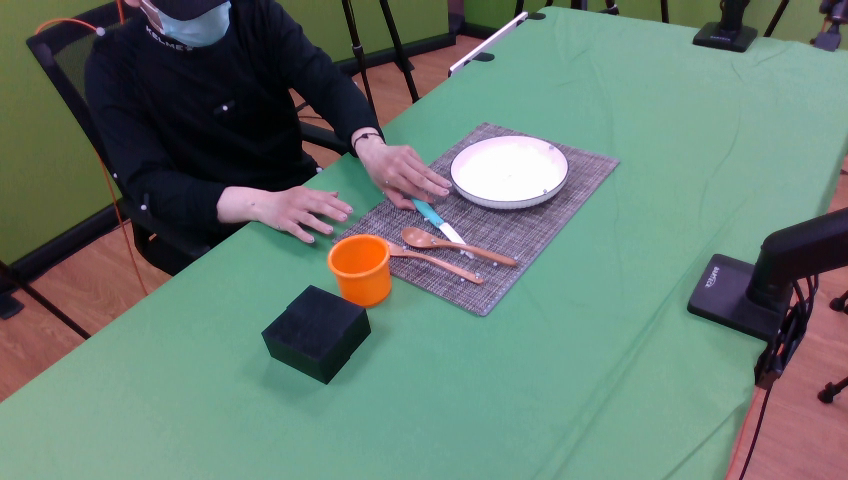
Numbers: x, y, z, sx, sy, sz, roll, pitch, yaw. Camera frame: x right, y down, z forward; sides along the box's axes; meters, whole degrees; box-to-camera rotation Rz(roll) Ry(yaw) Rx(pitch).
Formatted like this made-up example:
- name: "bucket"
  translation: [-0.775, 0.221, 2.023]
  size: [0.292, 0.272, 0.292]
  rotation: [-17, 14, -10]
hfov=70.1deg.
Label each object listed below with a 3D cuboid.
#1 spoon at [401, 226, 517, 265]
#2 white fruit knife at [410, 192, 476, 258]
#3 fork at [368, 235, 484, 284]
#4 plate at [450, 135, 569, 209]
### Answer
- name: "spoon"
  translation: [0.052, 0.011, 0.940]
  size: [0.192, 0.022, 0.041]
  rotation: [13, 41, 24]
- name: "white fruit knife"
  translation: [0.027, -0.027, 0.993]
  size: [0.027, 0.016, 0.205]
  rotation: [-8, 35, -29]
- name: "fork"
  translation: [0.001, 0.030, 0.930]
  size: [0.206, 0.019, 0.028]
  rotation: [18, 41, 29]
- name: "plate"
  translation: [0.149, -0.117, 1.065]
  size: [0.209, 0.038, 0.208]
  rotation: [-4, 41, 4]
